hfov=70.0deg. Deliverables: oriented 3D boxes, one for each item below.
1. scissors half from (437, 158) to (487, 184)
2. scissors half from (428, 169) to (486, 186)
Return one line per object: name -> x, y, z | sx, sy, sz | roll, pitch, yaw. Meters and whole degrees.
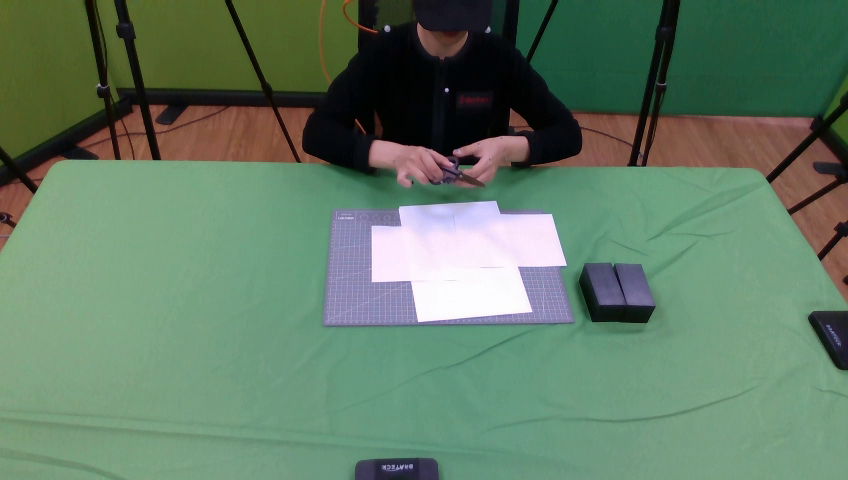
scissors half -> 0.075, -0.132, 1.177 | 0.040, 0.013, 0.174 | -46, 32, -4
scissors half -> 0.061, -0.118, 1.172 | 0.040, 0.013, 0.174 | -49, 33, -20
